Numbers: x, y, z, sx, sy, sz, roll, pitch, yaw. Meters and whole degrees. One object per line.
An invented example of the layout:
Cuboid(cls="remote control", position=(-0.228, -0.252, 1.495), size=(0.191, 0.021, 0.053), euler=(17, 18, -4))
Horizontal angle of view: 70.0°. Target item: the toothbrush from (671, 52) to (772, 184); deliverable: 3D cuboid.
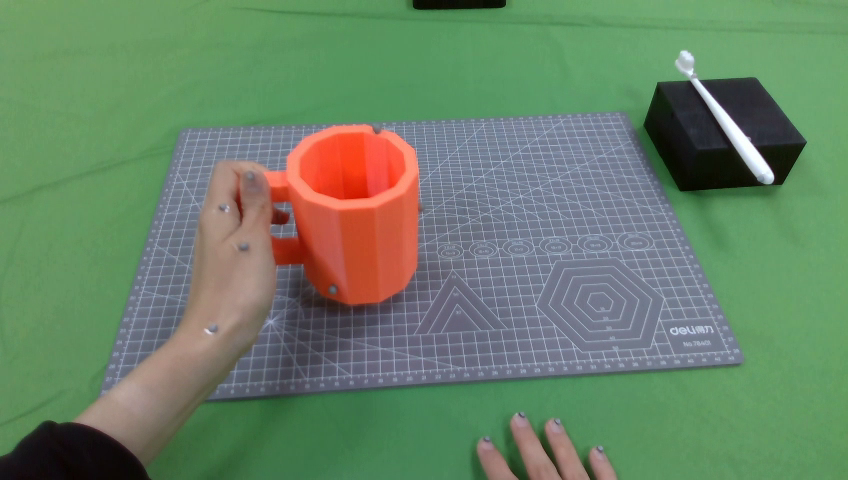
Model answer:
Cuboid(cls="toothbrush", position=(0.262, -0.114, 0.540), size=(0.014, 0.017, 0.180), euler=(-3, 48, -8))

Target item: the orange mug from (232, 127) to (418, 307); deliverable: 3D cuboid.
Cuboid(cls="orange mug", position=(-0.065, -0.015, 0.425), size=(0.126, 0.101, 0.082), euler=(-2, 47, -10))
